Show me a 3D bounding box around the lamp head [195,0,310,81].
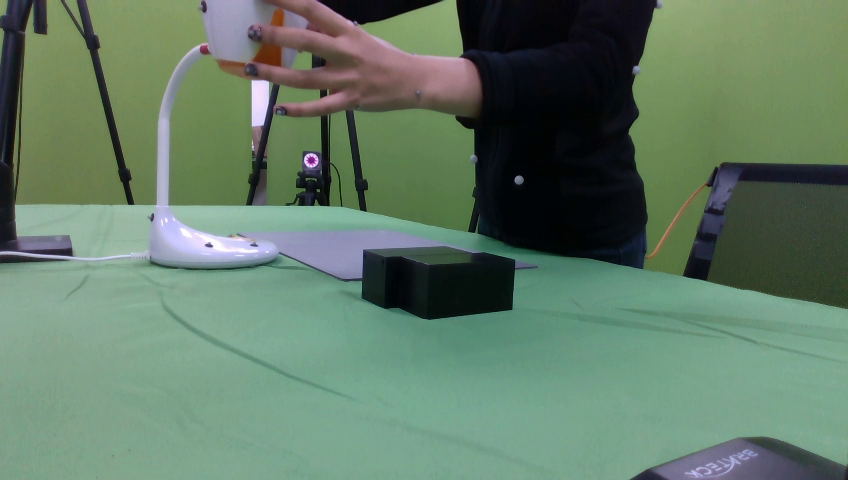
[{"bbox_3d":[-0.165,-0.214,0.572,0.112,0.123,0.112,9,8,-1],"label":"lamp head"}]

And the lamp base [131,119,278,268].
[{"bbox_3d":[-0.280,-0.061,0.770,0.160,0.180,0.180,9,13,43],"label":"lamp base"}]

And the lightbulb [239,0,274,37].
[{"bbox_3d":[-0.155,-0.246,0.567,0.059,0.107,0.059,10,6,-1],"label":"lightbulb"}]
